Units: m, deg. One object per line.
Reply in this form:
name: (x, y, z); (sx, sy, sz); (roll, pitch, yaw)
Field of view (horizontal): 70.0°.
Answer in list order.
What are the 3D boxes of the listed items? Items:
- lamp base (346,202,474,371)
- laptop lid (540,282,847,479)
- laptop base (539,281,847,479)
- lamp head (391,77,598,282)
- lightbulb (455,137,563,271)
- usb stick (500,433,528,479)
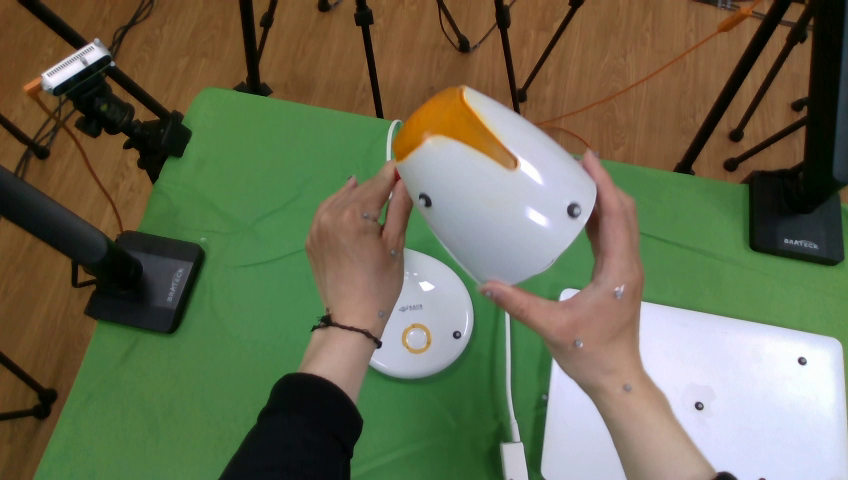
lamp base: (-0.022, 0.045, 0.696); (0.161, 0.181, 0.177); (-18, 67, -8)
laptop lid: (0.325, 0.188, 0.721); (0.356, 0.013, 0.240); (12, 70, 4)
laptop base: (0.325, 0.191, 0.733); (0.354, 0.023, 0.234); (10, 71, 3)
lamp head: (0.036, -0.049, 0.413); (0.123, 0.112, 0.112); (40, 70, -17)
lightbulb: (0.055, -0.025, 0.417); (0.059, 0.059, 0.108); (-44, 117, -16)
usb stick: (0.104, 0.254, 0.698); (0.027, 0.021, 0.059); (-3, 77, -2)
